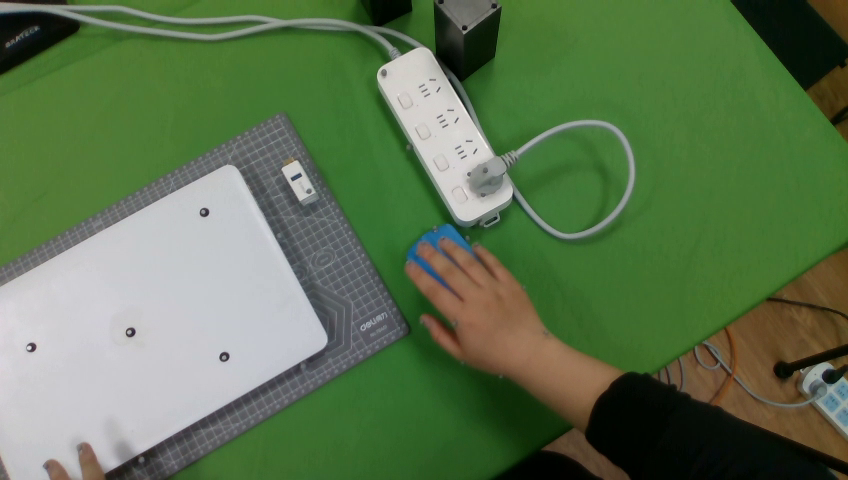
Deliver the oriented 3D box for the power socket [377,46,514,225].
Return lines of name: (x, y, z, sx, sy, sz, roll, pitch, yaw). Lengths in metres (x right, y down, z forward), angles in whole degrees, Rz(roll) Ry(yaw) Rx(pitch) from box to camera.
power socket: (0.022, -0.119, 0.682, 0.072, 0.033, 0.225, -29, 79, -3)

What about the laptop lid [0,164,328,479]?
laptop lid: (-0.307, 0.097, 0.644, 0.357, 0.013, 0.240, -28, 81, -4)

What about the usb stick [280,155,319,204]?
usb stick: (-0.142, -0.071, 0.678, 0.021, 0.027, 0.059, -31, 77, -1)

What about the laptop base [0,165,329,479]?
laptop base: (-0.307, 0.097, 0.656, 0.354, 0.023, 0.234, -30, 82, -4)

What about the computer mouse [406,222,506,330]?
computer mouse: (0.033, 0.036, 0.648, 0.063, 0.041, 0.116, -35, 75, -3)

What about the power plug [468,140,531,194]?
power plug: (0.083, -0.074, 0.650, 0.072, 0.053, 0.035, -18, 80, -3)
